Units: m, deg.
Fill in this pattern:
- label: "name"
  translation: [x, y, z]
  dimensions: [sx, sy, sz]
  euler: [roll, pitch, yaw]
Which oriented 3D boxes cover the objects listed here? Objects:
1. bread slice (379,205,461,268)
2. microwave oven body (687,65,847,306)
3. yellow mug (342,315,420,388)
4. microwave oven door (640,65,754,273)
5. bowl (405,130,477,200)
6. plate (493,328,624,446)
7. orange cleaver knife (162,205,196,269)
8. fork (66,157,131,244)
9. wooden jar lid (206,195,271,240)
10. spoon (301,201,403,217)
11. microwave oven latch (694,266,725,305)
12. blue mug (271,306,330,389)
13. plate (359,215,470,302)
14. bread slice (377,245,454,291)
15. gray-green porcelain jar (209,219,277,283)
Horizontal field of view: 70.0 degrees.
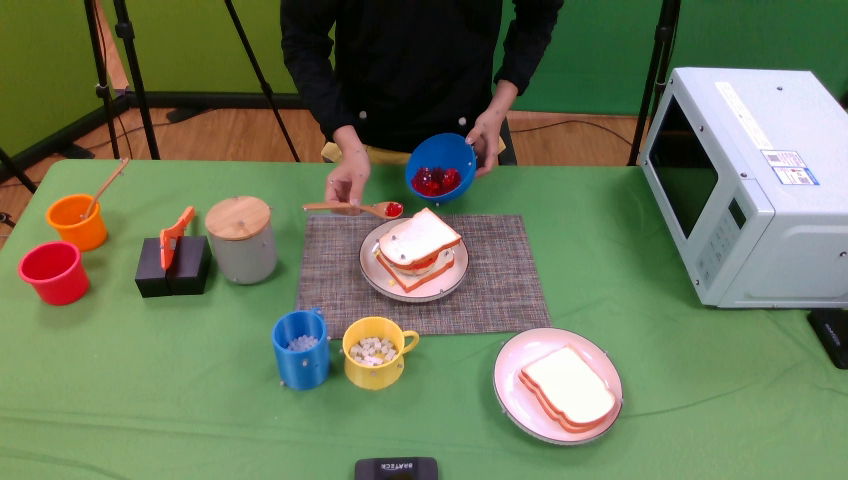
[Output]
- label: "bread slice"
  translation: [-0.013, -0.002, 1.097]
  dimensions: [0.134, 0.018, 0.106]
  euler: [-34, 51, -23]
- label: "microwave oven body"
  translation: [0.669, -0.111, 1.176]
  dimensions: [0.326, 0.261, 0.439]
  euler: [0, 46, -3]
- label: "yellow mug"
  translation: [-0.068, 0.177, 0.990]
  dimensions: [0.131, 0.064, 0.099]
  euler: [-15, 50, -19]
- label: "microwave oven door"
  translation: [0.523, -0.147, 1.193]
  dimensions: [0.039, 0.245, 0.353]
  euler: [0, 47, -3]
- label: "bowl"
  translation: [0.046, -0.138, 1.231]
  dimensions: [0.151, 0.077, 0.150]
  euler: [-11, 62, 22]
- label: "plate"
  translation: [0.213, 0.236, 0.974]
  dimensions: [0.208, 0.039, 0.206]
  euler: [2, 46, -2]
- label: "orange cleaver knife"
  translation: [-0.454, -0.010, 1.129]
  dimensions: [0.012, 0.077, 0.210]
  euler: [-2, 20, -5]
- label: "fork"
  translation: [-0.608, -0.074, 1.132]
  dimensions: [0.207, 0.019, 0.028]
  euler: [-52, 48, 10]
- label: "wooden jar lid"
  translation: [-0.319, -0.036, 1.046]
  dimensions: [0.108, 0.021, 0.107]
  euler: [1, 44, 0]
- label: "spoon"
  translation: [-0.124, -0.059, 1.065]
  dimensions: [0.194, 0.022, 0.041]
  euler: [3, 47, -35]
- label: "microwave oven latch"
  translation: [0.523, 0.082, 1.115]
  dimensions: [0.030, 0.029, 0.078]
  euler: [3, 46, 0]
- label: "blue mug"
  translation: [-0.188, 0.163, 0.969]
  dimensions: [0.082, 0.106, 0.116]
  euler: [15, 47, 10]
- label: "plate"
  translation: [-0.019, 0.038, 1.140]
  dimensions: [0.209, 0.038, 0.208]
  euler: [2, 46, -2]
- label: "bread slice"
  translation: [-0.010, 0.033, 1.151]
  dimensions: [0.131, 0.019, 0.104]
  euler: [-28, 57, -23]
- label: "gray-green porcelain jar"
  translation: [-0.323, 0.007, 1.092]
  dimensions: [0.106, 0.127, 0.105]
  euler: [2, 46, -2]
